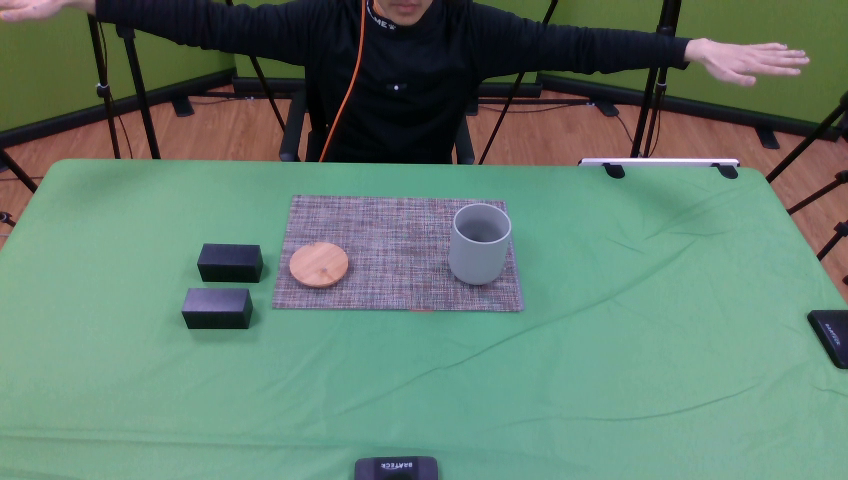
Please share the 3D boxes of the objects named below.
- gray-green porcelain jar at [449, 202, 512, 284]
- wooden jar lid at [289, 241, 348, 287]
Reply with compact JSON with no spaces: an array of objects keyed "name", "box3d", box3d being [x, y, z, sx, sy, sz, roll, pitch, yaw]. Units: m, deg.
[{"name":"gray-green porcelain jar","box3d":[0.100,0.010,1.116,0.106,0.127,0.105,2,47,-2]},{"name":"wooden jar lid","box3d":[-0.196,0.047,1.133,0.108,0.021,0.107,3,45,-2]}]
